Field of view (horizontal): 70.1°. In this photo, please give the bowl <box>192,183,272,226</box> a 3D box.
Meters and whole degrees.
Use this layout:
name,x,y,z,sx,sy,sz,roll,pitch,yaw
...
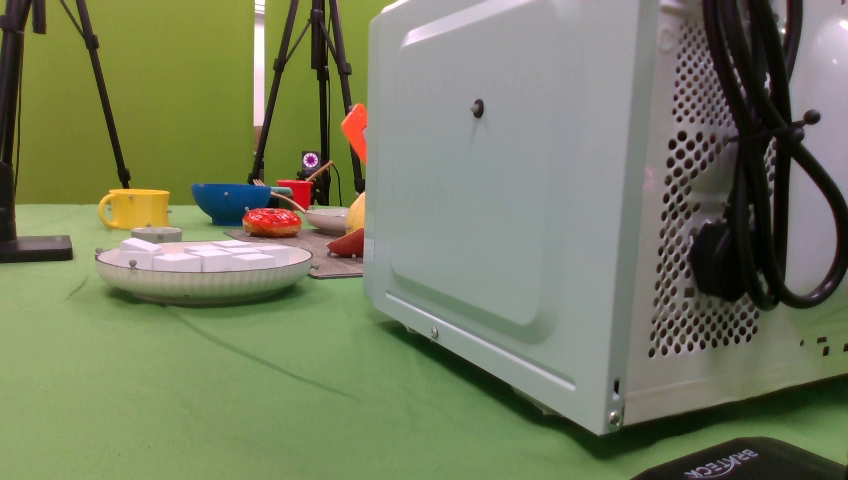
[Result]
name,x,y,z,sx,sy,sz,roll,pitch,yaw
bowl,-0.381,-0.071,1.202,0.151,0.077,0.151,3,7,0

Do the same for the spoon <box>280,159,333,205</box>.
name,x,y,z,sx,sy,sz,roll,pitch,yaw
spoon,-0.316,-0.159,1.639,0.194,0.022,0.041,-49,32,-20

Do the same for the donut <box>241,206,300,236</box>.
name,x,y,z,sx,sy,sz,roll,pitch,yaw
donut,-0.263,-0.031,1.039,0.099,0.048,0.099,4,10,0

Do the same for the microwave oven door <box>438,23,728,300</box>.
name,x,y,z,sx,sy,sz,roll,pitch,yaw
microwave oven door,0.181,-0.072,0.621,0.358,0.243,0.039,-2,8,-29

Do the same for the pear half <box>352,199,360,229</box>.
name,x,y,z,sx,sy,sz,roll,pitch,yaw
pear half,-0.071,-0.040,0.915,0.056,0.110,0.076,4,11,18

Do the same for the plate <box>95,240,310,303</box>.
name,x,y,z,sx,sy,sz,roll,pitch,yaw
plate,-0.224,0.031,0.629,0.208,0.039,0.207,2,7,0

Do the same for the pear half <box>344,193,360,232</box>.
name,x,y,z,sx,sy,sz,roll,pitch,yaw
pear half,-0.104,-0.033,0.929,0.031,0.088,0.070,5,13,17

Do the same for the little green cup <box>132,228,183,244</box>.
name,x,y,z,sx,sy,sz,roll,pitch,yaw
little green cup,-0.342,0.006,0.779,0.061,0.038,0.061,2,8,0

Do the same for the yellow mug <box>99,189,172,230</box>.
name,x,y,z,sx,sy,sz,roll,pitch,yaw
yellow mug,-0.518,-0.055,1.080,0.099,0.064,0.131,7,10,26

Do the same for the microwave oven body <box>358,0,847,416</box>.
name,x,y,z,sx,sy,sz,roll,pitch,yaw
microwave oven body,0.211,-0.047,0.474,0.444,0.260,0.324,-1,7,-28

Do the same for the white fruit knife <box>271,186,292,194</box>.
name,x,y,z,sx,sy,sz,roll,pitch,yaw
white fruit knife,-0.399,-0.111,1.368,0.208,0.016,0.027,-4,-19,-29

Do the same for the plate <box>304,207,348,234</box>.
name,x,y,z,sx,sy,sz,roll,pitch,yaw
plate,-0.123,-0.037,1.149,0.209,0.038,0.209,2,7,0

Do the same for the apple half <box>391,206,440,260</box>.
name,x,y,z,sx,sy,sz,roll,pitch,yaw
apple half,-0.005,-0.009,0.837,0.053,0.074,0.081,10,5,23

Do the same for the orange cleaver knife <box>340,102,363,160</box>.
name,x,y,z,sx,sy,sz,roll,pitch,yaw
orange cleaver knife,-0.066,-0.128,0.946,0.012,0.077,0.212,-1,-32,31

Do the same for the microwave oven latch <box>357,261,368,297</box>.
name,x,y,z,sx,sy,sz,roll,pitch,yaw
microwave oven latch,-0.019,0.033,0.531,0.079,0.029,0.030,-1,7,-27

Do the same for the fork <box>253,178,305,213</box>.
name,x,y,z,sx,sy,sz,roll,pitch,yaw
fork,-0.294,-0.084,1.293,0.206,0.018,0.028,29,12,26

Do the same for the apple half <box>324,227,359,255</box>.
name,x,y,z,sx,sy,sz,roll,pitch,yaw
apple half,-0.095,0.002,0.847,0.081,0.033,0.081,-21,-1,0
